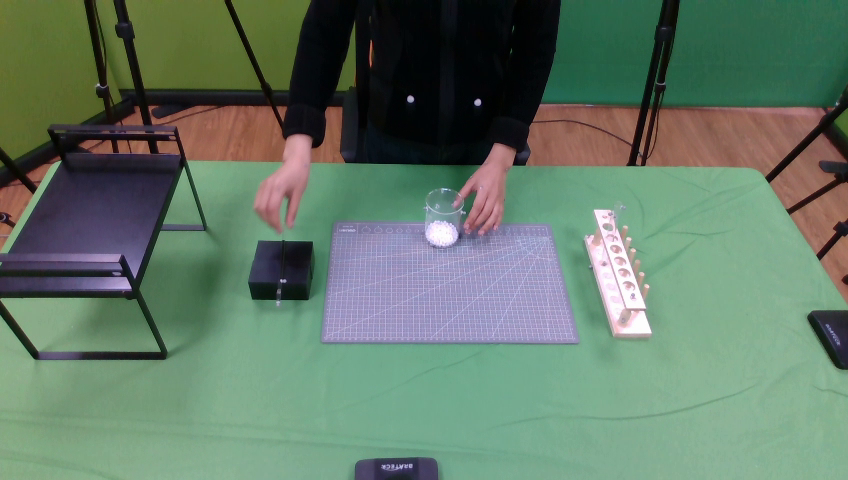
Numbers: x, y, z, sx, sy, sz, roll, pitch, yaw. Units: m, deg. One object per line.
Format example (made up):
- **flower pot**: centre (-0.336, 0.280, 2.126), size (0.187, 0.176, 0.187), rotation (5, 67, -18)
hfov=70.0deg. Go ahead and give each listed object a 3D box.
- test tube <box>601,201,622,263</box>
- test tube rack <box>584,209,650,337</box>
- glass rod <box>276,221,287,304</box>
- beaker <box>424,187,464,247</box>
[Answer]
- **test tube**: centre (0.346, -0.012, 1.123), size (0.017, 0.151, 0.017), rotation (-2, 45, 2)
- **test tube rack**: centre (0.365, 0.056, 1.129), size (0.067, 0.085, 0.240), rotation (1, 46, -4)
- **glass rod**: centre (-0.255, 0.036, 1.086), size (0.008, 0.008, 0.198), rotation (-2, 46, -6)
- **beaker**: centre (0.036, -0.043, 1.185), size (0.074, 0.101, 0.083), rotation (-3, 46, -7)
